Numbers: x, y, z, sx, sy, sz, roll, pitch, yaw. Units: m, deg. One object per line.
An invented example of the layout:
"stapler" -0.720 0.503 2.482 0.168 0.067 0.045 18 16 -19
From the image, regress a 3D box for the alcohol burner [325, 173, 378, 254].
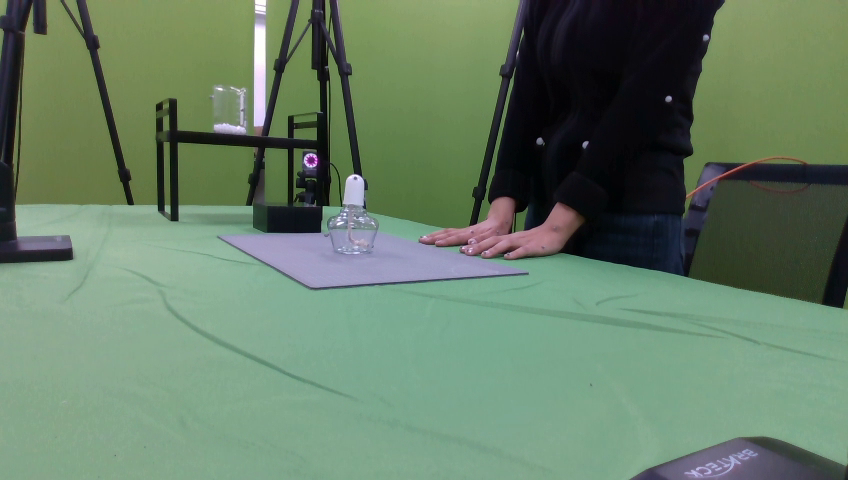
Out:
"alcohol burner" -0.107 -0.040 0.896 0.078 0.119 0.078 1 5 0

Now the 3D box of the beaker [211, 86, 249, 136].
"beaker" -0.413 -0.274 1.297 0.074 0.100 0.083 -5 11 -44

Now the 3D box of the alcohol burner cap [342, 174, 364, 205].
"alcohol burner cap" -0.104 -0.074 0.892 0.034 0.048 0.034 4 3 0
